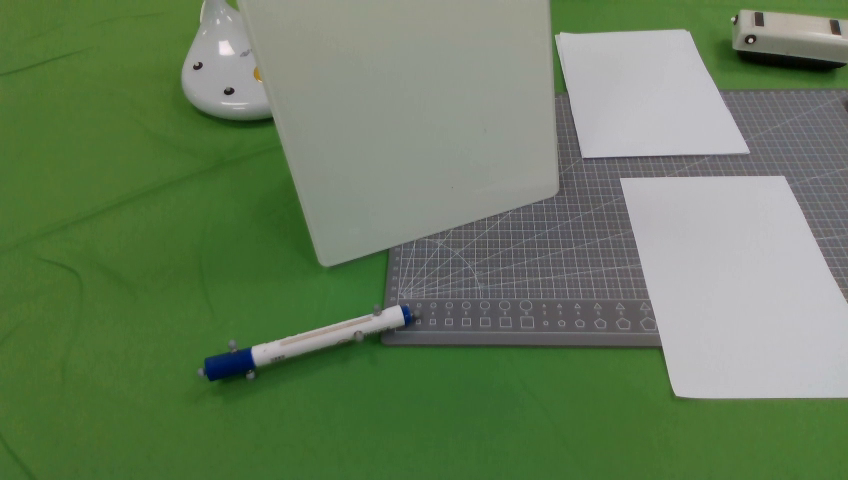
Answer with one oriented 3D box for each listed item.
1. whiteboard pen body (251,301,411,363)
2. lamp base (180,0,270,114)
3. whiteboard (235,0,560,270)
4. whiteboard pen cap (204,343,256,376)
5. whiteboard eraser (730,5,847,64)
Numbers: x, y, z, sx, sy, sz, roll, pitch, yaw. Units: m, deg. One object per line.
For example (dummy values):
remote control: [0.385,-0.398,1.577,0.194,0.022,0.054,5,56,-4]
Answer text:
whiteboard pen body: [-0.078,0.069,0.435,0.141,0.017,0.017,-15,51,-11]
lamp base: [-0.194,-0.244,0.601,0.177,0.182,0.160,34,59,30]
whiteboard: [-0.028,-0.167,0.484,0.217,0.308,0.142,-17,32,-10]
whiteboard pen cap: [-0.134,0.083,0.423,0.033,0.018,0.018,-14,50,-14]
whiteboard eraser: [0.383,-0.215,0.637,0.112,0.042,0.055,12,53,13]
